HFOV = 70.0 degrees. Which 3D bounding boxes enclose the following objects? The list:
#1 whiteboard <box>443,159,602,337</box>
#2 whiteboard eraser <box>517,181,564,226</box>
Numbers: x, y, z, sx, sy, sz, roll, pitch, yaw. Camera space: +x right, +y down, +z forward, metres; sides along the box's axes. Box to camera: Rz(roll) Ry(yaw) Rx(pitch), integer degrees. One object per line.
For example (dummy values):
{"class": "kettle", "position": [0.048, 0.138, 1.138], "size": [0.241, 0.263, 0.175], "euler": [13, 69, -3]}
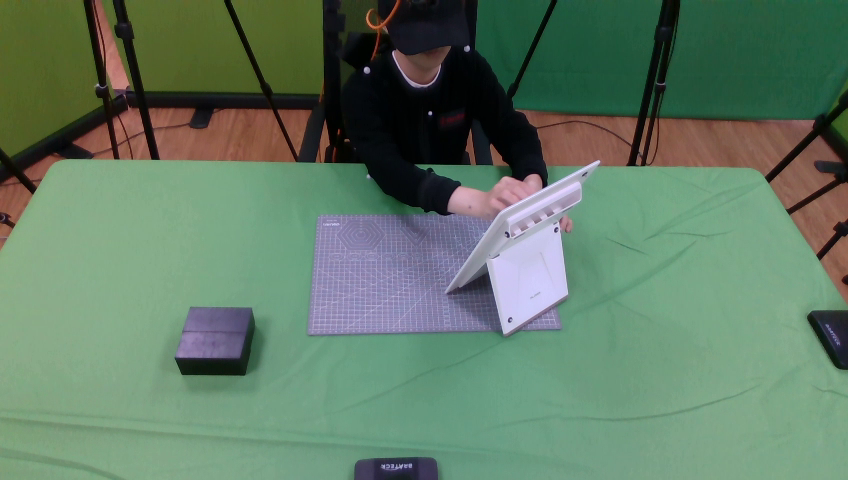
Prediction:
{"class": "whiteboard", "position": [0.193, 0.037, 1.017], "size": [0.217, 0.306, 0.143], "euler": [-26, 72, -26]}
{"class": "whiteboard eraser", "position": [0.195, -0.062, 1.016], "size": [0.041, 0.101, 0.019], "euler": [-17, 65, -50]}
